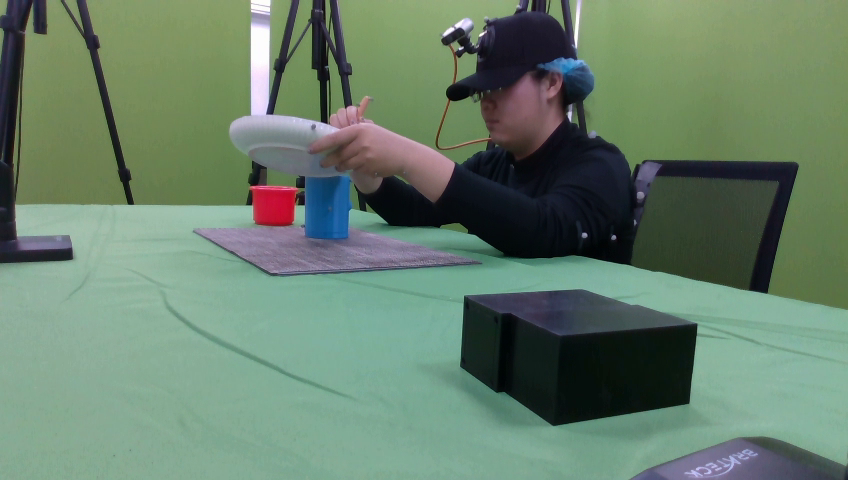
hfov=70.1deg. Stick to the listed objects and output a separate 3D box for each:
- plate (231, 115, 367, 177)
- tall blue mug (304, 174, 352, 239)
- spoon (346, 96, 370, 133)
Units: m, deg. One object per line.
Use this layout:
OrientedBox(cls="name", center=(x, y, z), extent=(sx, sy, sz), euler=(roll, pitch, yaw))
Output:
OrientedBox(cls="plate", center=(-0.194, -0.136, 0.939), extent=(0.208, 0.039, 0.208), euler=(6, -10, 1))
OrientedBox(cls="tall blue mug", center=(-0.178, -0.062, 1.062), extent=(0.078, 0.108, 0.106), euler=(-5, 11, -38))
OrientedBox(cls="spoon", center=(-0.130, -0.196, 1.052), extent=(0.041, 0.022, 0.193), euler=(3, 42, 17))
